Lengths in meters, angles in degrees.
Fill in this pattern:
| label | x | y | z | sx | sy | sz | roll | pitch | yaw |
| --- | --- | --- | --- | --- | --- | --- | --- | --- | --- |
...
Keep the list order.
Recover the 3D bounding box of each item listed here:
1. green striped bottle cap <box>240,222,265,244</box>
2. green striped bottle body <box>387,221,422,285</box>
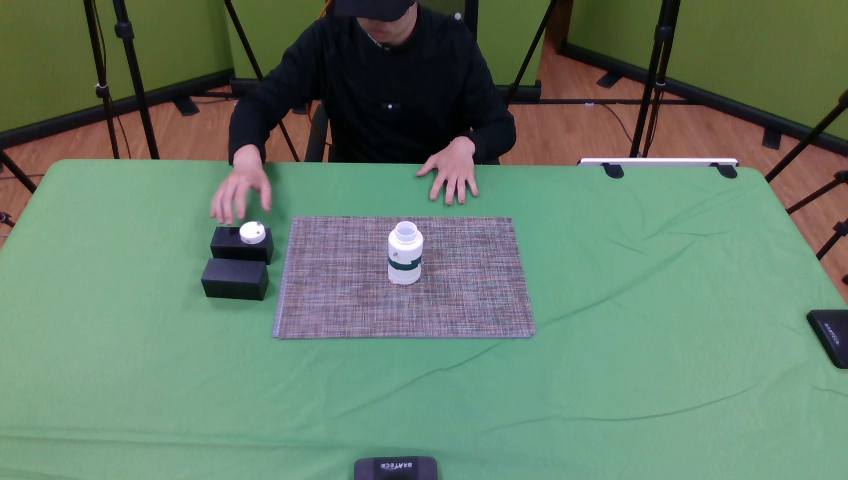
| label | x | y | z | sx | sy | sz | roll | pitch | yaw |
| --- | --- | --- | --- | --- | --- | --- | --- | --- | --- |
| green striped bottle cap | -0.319 | -0.013 | 1.123 | 0.044 | 0.020 | 0.044 | 2 | 47 | -1 |
| green striped bottle body | -0.035 | 0.021 | 1.103 | 0.063 | 0.120 | 0.063 | 2 | 46 | -2 |
